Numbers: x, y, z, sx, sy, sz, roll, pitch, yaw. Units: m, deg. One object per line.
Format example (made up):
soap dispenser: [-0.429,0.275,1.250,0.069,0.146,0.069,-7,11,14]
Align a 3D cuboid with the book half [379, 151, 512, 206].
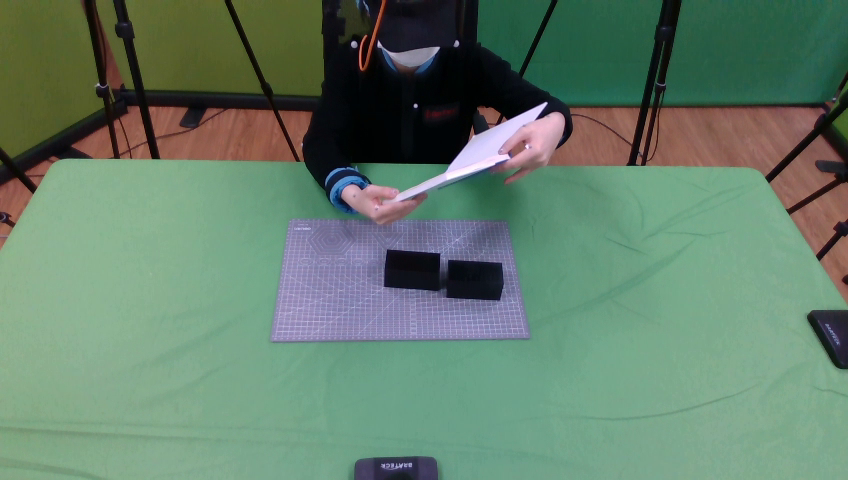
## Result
book half: [0.029,-0.102,1.038,0.149,0.210,0.016,-23,95,-34]

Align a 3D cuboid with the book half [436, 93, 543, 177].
book half: [0.116,-0.189,1.114,0.007,0.210,0.143,45,59,-17]
